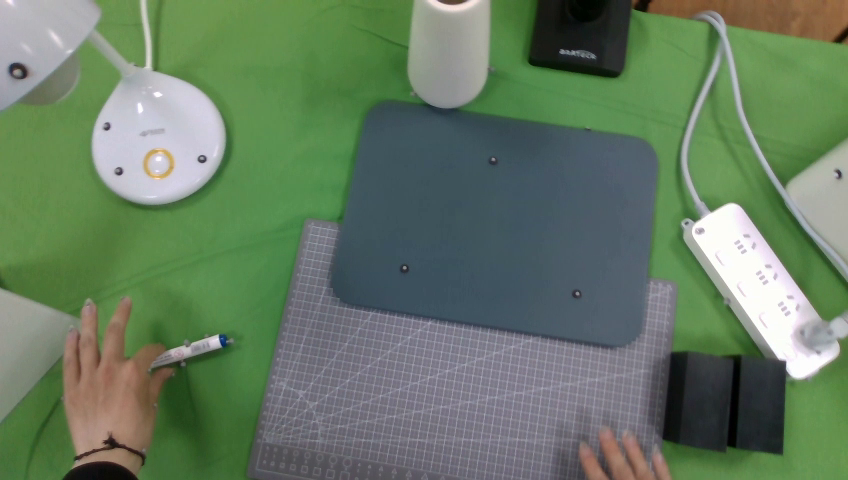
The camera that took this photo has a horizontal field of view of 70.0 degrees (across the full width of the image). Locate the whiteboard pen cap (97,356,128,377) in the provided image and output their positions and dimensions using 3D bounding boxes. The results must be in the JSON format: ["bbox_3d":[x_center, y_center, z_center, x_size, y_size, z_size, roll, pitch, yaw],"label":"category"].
[{"bbox_3d":[-0.350,0.142,0.687,0.033,0.018,0.018,-17,79,0],"label":"whiteboard pen cap"}]

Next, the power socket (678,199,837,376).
[{"bbox_3d":[0.385,0.053,0.702,0.072,0.033,0.225,-30,80,-7],"label":"power socket"}]

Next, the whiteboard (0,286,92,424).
[{"bbox_3d":[-0.542,0.079,0.584,0.142,0.308,0.217,37,80,27],"label":"whiteboard"}]

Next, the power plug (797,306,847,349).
[{"bbox_3d":[0.449,0.095,0.671,0.072,0.053,0.035,-20,78,-9],"label":"power plug"}]

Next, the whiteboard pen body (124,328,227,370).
[{"bbox_3d":[-0.294,0.128,0.691,0.141,0.017,0.017,-17,79,-2],"label":"whiteboard pen body"}]

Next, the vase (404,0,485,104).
[{"bbox_3d":[0.025,-0.232,0.673,0.098,0.200,0.097,0,77,-1],"label":"vase"}]

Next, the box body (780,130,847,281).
[{"bbox_3d":[0.612,-0.006,0.649,0.254,0.161,0.362,-35,81,-7],"label":"box body"}]

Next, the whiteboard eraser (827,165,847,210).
[{"bbox_3d":[0.532,-0.042,0.708,0.055,0.042,0.112,-45,84,-6],"label":"whiteboard eraser"}]

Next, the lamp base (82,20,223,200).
[{"bbox_3d":[-0.331,-0.153,0.664,0.161,0.181,0.178,-21,77,-4],"label":"lamp base"}]

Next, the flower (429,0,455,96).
[{"bbox_3d":[0.034,-0.263,0.595,0.038,0.363,0.044,-36,74,-23],"label":"flower"}]

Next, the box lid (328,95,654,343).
[{"bbox_3d":[0.086,-0.030,0.728,0.371,0.015,0.262,9,78,2],"label":"box lid"}]

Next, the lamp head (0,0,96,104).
[{"bbox_3d":[-0.298,-0.163,0.386,0.112,0.124,0.111,-22,41,21],"label":"lamp head"}]
